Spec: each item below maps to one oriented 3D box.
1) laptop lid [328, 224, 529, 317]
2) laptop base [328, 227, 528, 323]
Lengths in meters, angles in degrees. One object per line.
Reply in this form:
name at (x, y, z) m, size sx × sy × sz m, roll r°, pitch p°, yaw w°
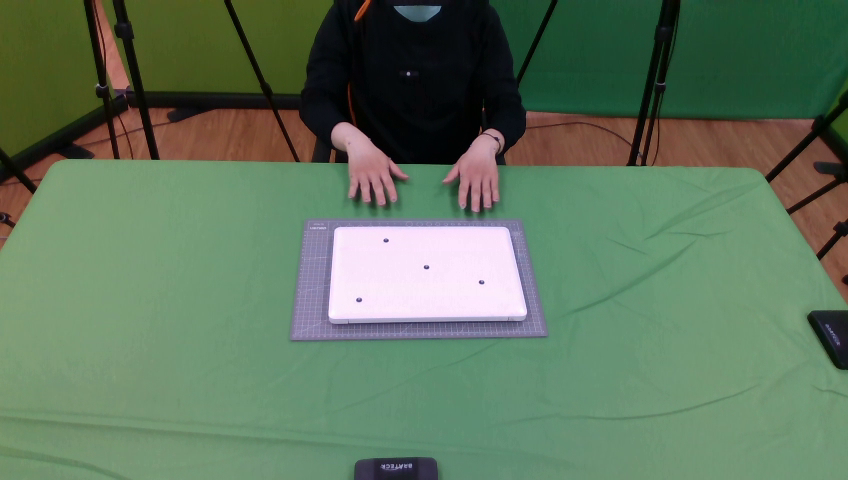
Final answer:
laptop lid at (0.005, 0.051, 1.130) m, size 0.357 × 0.013 × 0.240 m, roll 1°, pitch 44°, yaw -3°
laptop base at (0.005, 0.061, 1.137) m, size 0.355 × 0.023 × 0.234 m, roll 0°, pitch 43°, yaw -4°
